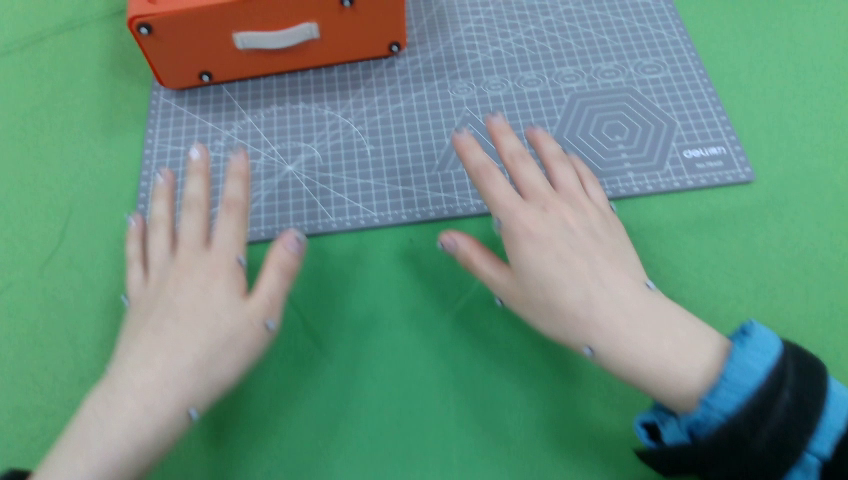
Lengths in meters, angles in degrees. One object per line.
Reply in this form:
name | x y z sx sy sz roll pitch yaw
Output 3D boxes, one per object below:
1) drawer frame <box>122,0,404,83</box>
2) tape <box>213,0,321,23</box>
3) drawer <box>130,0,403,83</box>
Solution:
drawer frame | -0.135 -0.246 0.509 0.202 0.083 0.211 -12 61 -5
tape | -0.135 -0.245 0.516 0.117 0.053 0.116 0 63 0
drawer | -0.133 -0.243 0.508 0.195 0.074 0.209 -11 61 -5
